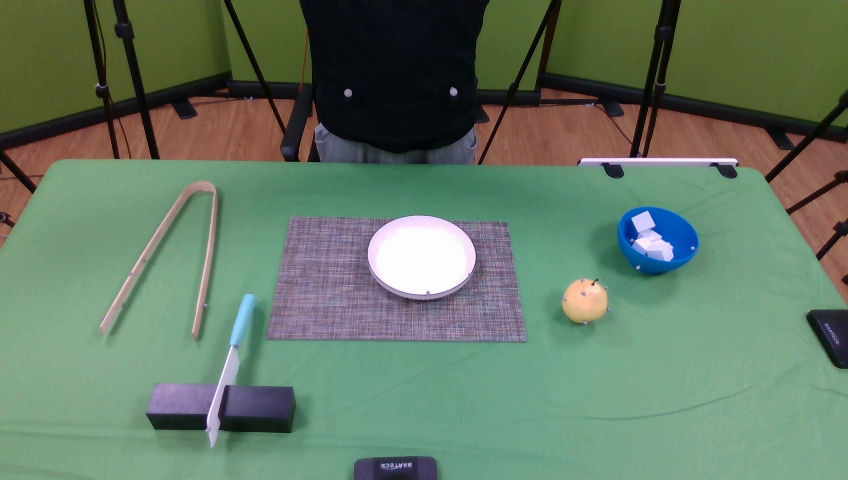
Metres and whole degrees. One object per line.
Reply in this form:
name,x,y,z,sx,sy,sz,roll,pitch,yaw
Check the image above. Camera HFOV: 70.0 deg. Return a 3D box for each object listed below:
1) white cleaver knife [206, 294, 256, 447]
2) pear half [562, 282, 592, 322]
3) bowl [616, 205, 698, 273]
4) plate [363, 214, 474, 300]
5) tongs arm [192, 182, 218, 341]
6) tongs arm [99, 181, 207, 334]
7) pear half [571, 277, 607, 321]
white cleaver knife,-0.305,0.191,0.956,0.021,0.066,0.284,6,36,-4
pear half,0.264,0.111,1.065,0.031,0.088,0.070,-20,61,-21
bowl,0.443,0.011,1.182,0.151,0.077,0.150,2,46,-2
plate,-0.010,0.036,1.146,0.208,0.039,0.206,3,46,-2
tongs arm,-0.413,0.024,1.139,0.028,0.028,0.385,-5,47,-7
tongs arm,-0.493,0.018,1.132,0.051,0.026,0.382,7,45,0
pear half,0.297,0.094,1.069,0.056,0.110,0.076,-21,61,-21
